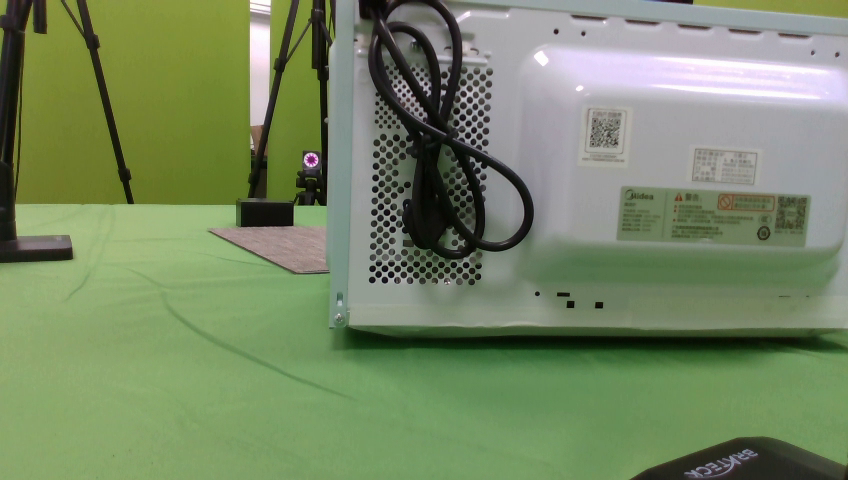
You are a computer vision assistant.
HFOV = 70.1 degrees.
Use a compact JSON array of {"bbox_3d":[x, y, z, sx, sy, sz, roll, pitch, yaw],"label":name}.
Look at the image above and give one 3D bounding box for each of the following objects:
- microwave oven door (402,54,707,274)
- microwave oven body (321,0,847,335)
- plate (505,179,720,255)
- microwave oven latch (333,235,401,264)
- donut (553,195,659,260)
[{"bbox_3d":[0.157,-0.085,0.717,0.357,0.243,0.039,1,8,-8],"label":"microwave oven door"},{"bbox_3d":[0.133,-0.062,0.567,0.443,0.260,0.325,2,6,-8],"label":"microwave oven body"},{"bbox_3d":[0.184,-0.025,0.615,0.209,0.038,0.209,5,15,-1],"label":"plate"},{"bbox_3d":[-0.065,0.011,0.700,0.079,0.029,0.030,2,6,-8],"label":"microwave oven latch"},{"bbox_3d":[0.172,-0.015,0.575,0.099,0.048,0.099,-12,12,3],"label":"donut"}]
